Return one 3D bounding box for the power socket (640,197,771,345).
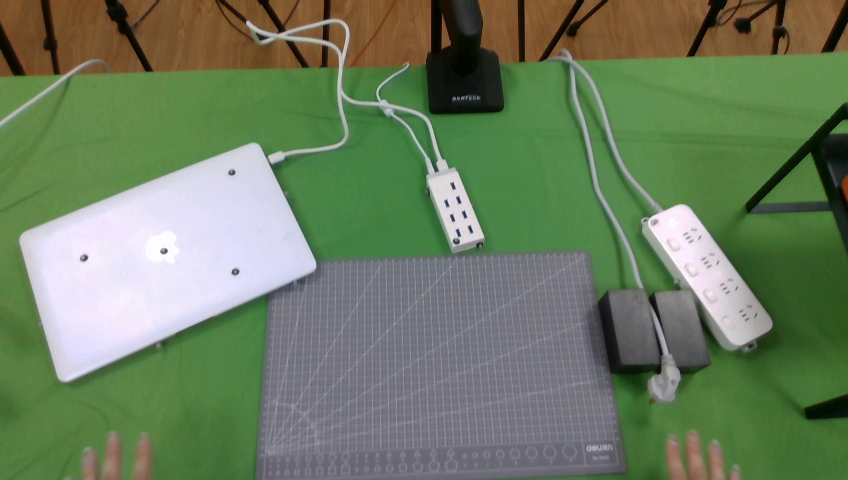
[{"bbox_3d":[0.385,0.038,0.836,0.072,0.033,0.225,-23,68,-11],"label":"power socket"}]

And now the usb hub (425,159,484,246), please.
[{"bbox_3d":[0.042,-0.055,0.877,0.049,0.025,0.124,-17,67,-8],"label":"usb hub"}]

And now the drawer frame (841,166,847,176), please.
[{"bbox_3d":[0.591,-0.009,0.637,0.214,0.083,0.200,-3,66,-3],"label":"drawer frame"}]

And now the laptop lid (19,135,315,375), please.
[{"bbox_3d":[-0.354,0.006,0.833,0.357,0.013,0.240,-23,70,-11],"label":"laptop lid"}]

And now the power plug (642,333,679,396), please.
[{"bbox_3d":[0.296,0.161,0.757,0.035,0.053,0.072,28,48,-6],"label":"power plug"}]

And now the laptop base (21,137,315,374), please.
[{"bbox_3d":[-0.355,0.010,0.845,0.354,0.023,0.234,-25,71,-11],"label":"laptop base"}]

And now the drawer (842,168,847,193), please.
[{"bbox_3d":[0.587,-0.007,0.638,0.212,0.074,0.193,-2,65,-2],"label":"drawer"}]
